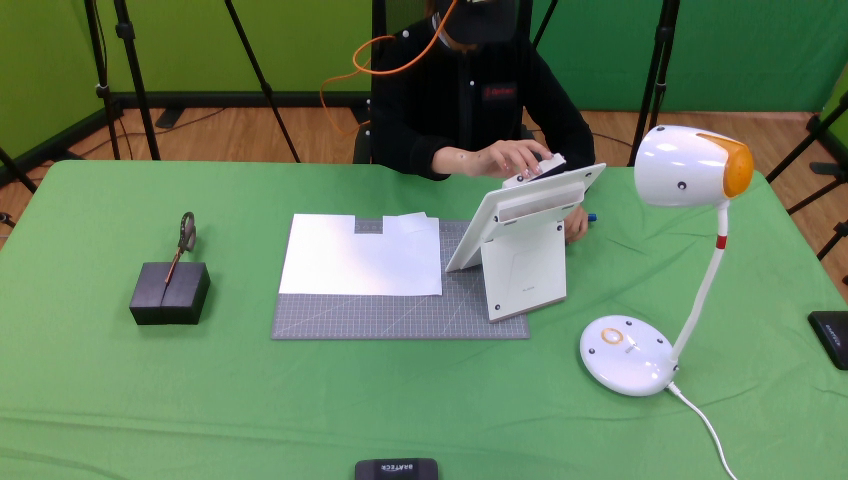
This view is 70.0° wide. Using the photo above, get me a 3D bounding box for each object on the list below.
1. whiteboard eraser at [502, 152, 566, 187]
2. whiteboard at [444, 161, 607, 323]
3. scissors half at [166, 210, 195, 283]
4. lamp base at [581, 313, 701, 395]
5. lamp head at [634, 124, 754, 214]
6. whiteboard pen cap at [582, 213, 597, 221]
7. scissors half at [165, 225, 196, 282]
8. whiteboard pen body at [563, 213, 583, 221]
[{"bbox_3d":[0.180,-0.097,0.992,0.113,0.056,0.041,-29,71,-12],"label":"whiteboard eraser"},{"bbox_3d":[0.186,0.025,1.029,0.217,0.306,0.143,-14,68,-18],"label":"whiteboard"},{"bbox_3d":[-0.440,0.010,1.094,0.013,0.040,0.174,8,48,-9],"label":"scissors half"},{"bbox_3d":[0.361,0.144,0.973,0.178,0.181,0.160,34,53,23],"label":"lamp base"},{"bbox_3d":[0.351,-0.089,0.776,0.112,0.113,0.122,-30,30,-28],"label":"lamp head"},{"bbox_3d":[0.342,-0.047,1.260,0.033,0.018,0.018,-3,46,-3],"label":"whiteboard pen cap"},{"bbox_3d":[-0.444,0.025,1.107,0.013,0.040,0.174,4,30,-5],"label":"scissors half"},{"bbox_3d":[0.282,-0.048,1.259,0.141,0.017,0.017,-2,46,-3],"label":"whiteboard pen body"}]
